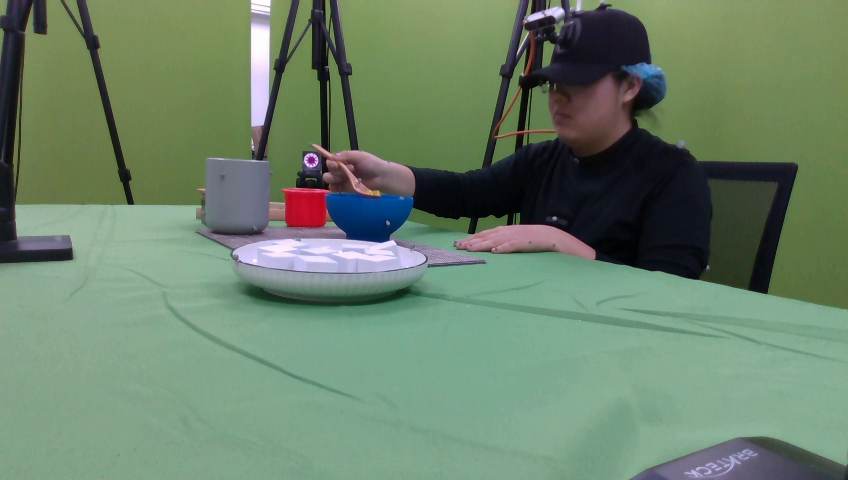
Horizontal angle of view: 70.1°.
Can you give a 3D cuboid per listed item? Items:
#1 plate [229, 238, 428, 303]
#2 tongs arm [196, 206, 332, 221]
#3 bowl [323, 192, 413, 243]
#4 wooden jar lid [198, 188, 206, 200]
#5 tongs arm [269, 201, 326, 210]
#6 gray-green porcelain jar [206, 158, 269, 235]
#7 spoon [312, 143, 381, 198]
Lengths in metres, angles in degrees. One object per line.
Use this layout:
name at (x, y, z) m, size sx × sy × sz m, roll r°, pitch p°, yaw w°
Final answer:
plate at (-0.099, 0.032, 0.651) m, size 0.209 × 0.038 × 0.209 m, roll 3°, pitch 8°, yaw 0°
tongs arm at (-0.294, -0.057, 1.330) m, size 0.389 × 0.028 × 0.028 m, roll 0°, pitch 5°, yaw -20°
bowl at (-0.094, -0.037, 1.015) m, size 0.151 × 0.077 × 0.151 m, roll 3°, pitch 7°, yaw 0°
wooden jar lid at (-0.382, -0.088, 1.175) m, size 0.108 × 0.020 × 0.108 m, roll 3°, pitch 8°, yaw 0°
tongs arm at (-0.308, -0.072, 1.410) m, size 0.386 × 0.026 × 0.050 m, roll 3°, pitch 8°, yaw -6°
gray-green porcelain jar at (-0.323, -0.076, 1.048) m, size 0.106 × 0.126 × 0.106 m, roll 3°, pitch 7°, yaw 0°
spoon at (-0.141, -0.123, 1.064) m, size 0.042 × 0.021 × 0.193 m, roll -3°, pitch 40°, yaw -48°
